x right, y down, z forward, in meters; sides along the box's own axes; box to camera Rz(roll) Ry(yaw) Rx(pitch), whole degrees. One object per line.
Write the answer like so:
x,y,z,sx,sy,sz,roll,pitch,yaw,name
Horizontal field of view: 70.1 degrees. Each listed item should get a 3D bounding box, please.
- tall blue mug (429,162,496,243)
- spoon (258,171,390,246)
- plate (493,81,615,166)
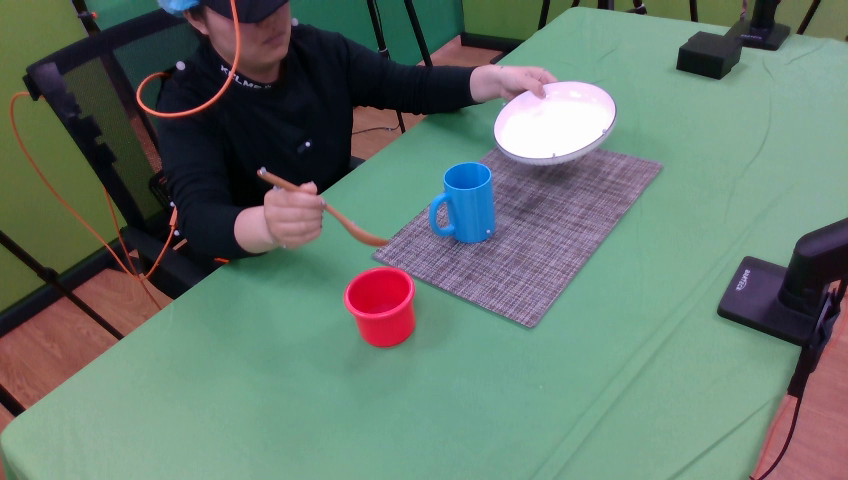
0.067,-0.051,0.960,0.077,0.108,0.107,17,47,27,tall blue mug
-0.124,-0.039,0.772,0.041,0.195,0.021,-2,58,60,spoon
0.224,-0.196,1.046,0.207,0.039,0.206,-11,46,12,plate
